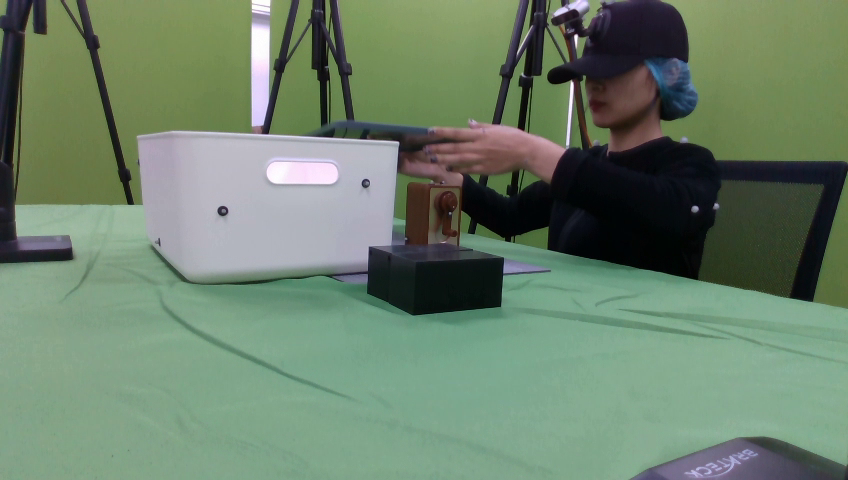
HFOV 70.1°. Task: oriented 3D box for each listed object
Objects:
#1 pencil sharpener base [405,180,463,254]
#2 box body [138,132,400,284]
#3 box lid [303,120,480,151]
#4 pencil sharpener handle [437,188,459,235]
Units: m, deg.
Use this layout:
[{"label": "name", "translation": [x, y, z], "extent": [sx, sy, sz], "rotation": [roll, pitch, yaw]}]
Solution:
[{"label": "pencil sharpener base", "translation": [0.016, -0.035, 0.922], "extent": [0.061, 0.107, 0.076], "rotation": [-2, 9, -30]}, {"label": "box body", "translation": [-0.223, -0.056, 0.807], "extent": [0.255, 0.160, 0.362], "rotation": [-3, 9, -31]}, {"label": "box lid", "translation": [-0.081, -0.194, 1.161], "extent": [0.264, 0.015, 0.370], "rotation": [1, 4, -22]}, {"label": "pencil sharpener handle", "translation": [0.041, -0.041, 0.876], "extent": [0.036, 0.067, 0.030], "rotation": [1, 7, -30]}]
